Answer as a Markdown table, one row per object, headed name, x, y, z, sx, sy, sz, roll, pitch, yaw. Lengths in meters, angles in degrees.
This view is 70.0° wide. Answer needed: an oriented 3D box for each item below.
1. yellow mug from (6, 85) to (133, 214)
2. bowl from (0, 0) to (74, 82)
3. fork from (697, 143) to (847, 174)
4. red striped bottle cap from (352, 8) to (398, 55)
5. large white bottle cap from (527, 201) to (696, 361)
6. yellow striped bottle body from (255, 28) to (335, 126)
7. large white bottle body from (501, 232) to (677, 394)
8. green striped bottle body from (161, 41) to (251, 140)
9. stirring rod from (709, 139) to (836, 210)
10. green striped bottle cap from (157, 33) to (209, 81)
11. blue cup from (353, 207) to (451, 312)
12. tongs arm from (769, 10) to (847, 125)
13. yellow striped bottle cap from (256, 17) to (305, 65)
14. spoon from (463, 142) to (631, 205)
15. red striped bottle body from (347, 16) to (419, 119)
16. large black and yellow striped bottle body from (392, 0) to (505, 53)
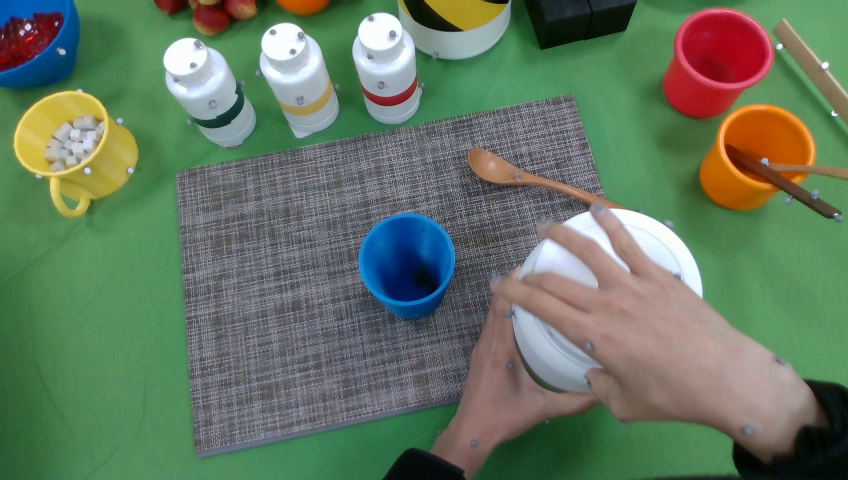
| name | x | y | z | sx | sy | sz | roll | pitch | yaw |
| --- | --- | --- | --- | --- | --- | --- | --- | --- | --- |
| yellow mug | -0.377 | -0.091 | 0.646 | 0.100 | 0.064 | 0.130 | -2 | 72 | 1 |
| bowl | -0.464 | -0.235 | 0.691 | 0.151 | 0.077 | 0.150 | 0 | 72 | 2 |
| fork | 0.352 | -0.070 | 0.564 | 0.028 | 0.019 | 0.205 | -51 | 33 | -11 |
| red striped bottle cap | -0.047 | -0.202 | 0.584 | 0.044 | 0.018 | 0.044 | 1 | 69 | -1 |
| large white bottle cap | 0.130 | 0.027 | 0.425 | 0.115 | 0.018 | 0.114 | -1 | 70 | 3 |
| yellow striped bottle body | -0.136 | -0.176 | 0.635 | 0.063 | 0.121 | 0.062 | -1 | 71 | 4 |
| large white bottle body | 0.135 | 0.056 | 0.509 | 0.130 | 0.186 | 0.129 | -1 | 71 | 3 |
| green striped bottle body | -0.229 | -0.160 | 0.634 | 0.063 | 0.120 | 0.063 | -1 | 71 | 2 |
| stirring rod | 0.321 | -0.066 | 0.571 | 0.014 | 0.006 | 0.174 | -10 | 29 | -3 |
| green striped bottle cap | -0.233 | -0.177 | 0.585 | 0.044 | 0.020 | 0.044 | -1 | 71 | 2 |
| blue cup | -0.018 | 0.027 | 0.569 | 0.092 | 0.101 | 0.092 | 0 | 71 | 1 |
| tongs arm | 0.491 | -0.095 | 0.625 | 0.051 | 0.027 | 0.382 | -24 | 73 | -7 |
| yellow striped bottle cap | -0.139 | -0.192 | 0.586 | 0.044 | 0.019 | 0.044 | 0 | 73 | 1 |
| spoon | 0.132 | -0.061 | 0.634 | 0.193 | 0.022 | 0.041 | 19 | 49 | 8 |
| red striped bottle body | -0.042 | -0.184 | 0.634 | 0.063 | 0.120 | 0.062 | -2 | 70 | 7 |
| large black and yellow striped bottle body | 0.025 | -0.303 | 0.636 | 0.131 | 0.185 | 0.130 | -1 | 72 | 3 |
